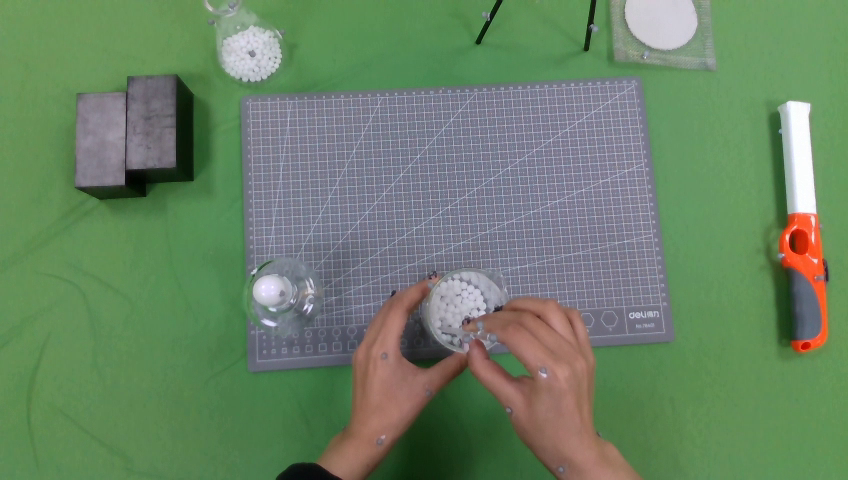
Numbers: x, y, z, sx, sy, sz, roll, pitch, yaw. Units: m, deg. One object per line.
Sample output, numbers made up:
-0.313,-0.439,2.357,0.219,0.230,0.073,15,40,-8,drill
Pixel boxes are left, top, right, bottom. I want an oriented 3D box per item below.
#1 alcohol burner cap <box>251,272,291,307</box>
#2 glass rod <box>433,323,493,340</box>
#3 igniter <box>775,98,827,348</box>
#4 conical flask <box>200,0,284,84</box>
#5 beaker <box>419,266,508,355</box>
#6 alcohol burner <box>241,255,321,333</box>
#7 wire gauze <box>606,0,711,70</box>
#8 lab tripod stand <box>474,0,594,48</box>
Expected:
-0.140,0.044,0.548,0.034,0.048,0.034,1,84,-6,alcohol burner cap
0.028,0.075,0.508,0.008,0.199,0.008,1,84,-10,glass rod
0.410,-0.021,0.664,0.057,0.025,0.275,3,81,-12,igniter
-0.192,-0.217,0.621,0.075,0.122,0.075,0,81,-2,conical flask
0.034,0.063,0.568,0.074,0.100,0.084,41,81,0,beaker
-0.142,0.050,0.584,0.078,0.119,0.077,0,80,0,alcohol burner
0.273,-0.261,0.705,0.125,0.011,0.121,2,82,-4,wire gauze
0.124,-0.269,0.637,0.148,0.132,0.148,0,83,-2,lab tripod stand
